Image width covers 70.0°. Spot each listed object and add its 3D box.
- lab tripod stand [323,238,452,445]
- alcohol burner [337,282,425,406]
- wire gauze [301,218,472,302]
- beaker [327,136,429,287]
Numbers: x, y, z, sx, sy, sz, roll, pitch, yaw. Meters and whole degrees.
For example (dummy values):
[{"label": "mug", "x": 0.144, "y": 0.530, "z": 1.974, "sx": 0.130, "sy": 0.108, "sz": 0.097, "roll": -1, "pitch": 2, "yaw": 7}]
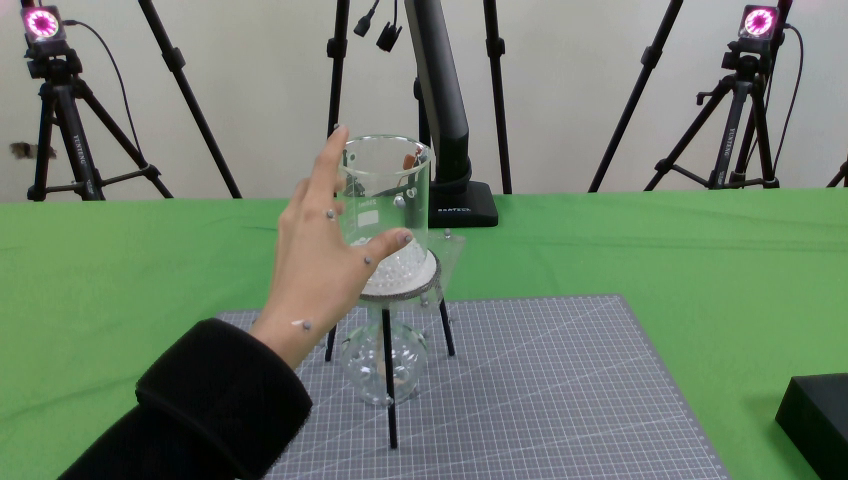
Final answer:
[{"label": "lab tripod stand", "x": -0.031, "y": 0.078, "z": 0.527, "sx": 0.148, "sy": 0.132, "sz": 0.147, "roll": 2, "pitch": 32, "yaw": -1}, {"label": "alcohol burner", "x": -0.038, "y": 0.087, "z": 0.532, "sx": 0.078, "sy": 0.120, "sz": 0.077, "roll": 2, "pitch": 30, "yaw": -1}, {"label": "wire gauze", "x": -0.030, "y": 0.011, "z": 0.479, "sx": 0.125, "sy": 0.011, "sz": 0.120, "roll": 2, "pitch": 28, "yaw": -8}, {"label": "beaker", "x": -0.031, "y": -0.022, "z": 0.471, "sx": 0.084, "sy": 0.101, "sz": 0.073, "roll": -23, "pitch": 39, "yaw": -34}]
